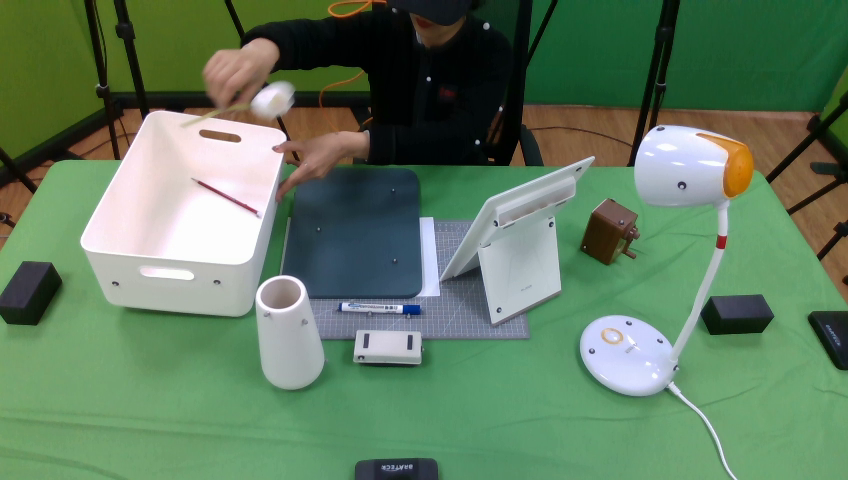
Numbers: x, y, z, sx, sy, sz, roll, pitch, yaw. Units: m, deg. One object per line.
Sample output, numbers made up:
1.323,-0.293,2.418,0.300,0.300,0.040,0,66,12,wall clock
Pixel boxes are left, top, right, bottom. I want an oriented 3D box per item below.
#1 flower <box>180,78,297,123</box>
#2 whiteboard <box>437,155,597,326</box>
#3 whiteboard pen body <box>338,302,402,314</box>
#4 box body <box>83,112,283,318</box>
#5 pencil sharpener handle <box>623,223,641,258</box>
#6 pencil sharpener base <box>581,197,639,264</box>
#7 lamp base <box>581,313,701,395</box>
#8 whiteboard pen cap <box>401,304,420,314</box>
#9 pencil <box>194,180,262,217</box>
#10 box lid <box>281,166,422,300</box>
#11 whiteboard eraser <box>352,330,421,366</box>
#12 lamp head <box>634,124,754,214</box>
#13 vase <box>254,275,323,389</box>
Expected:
-0.311,-0.209,0.961,0.360,0.038,0.044,2,56,46,flower
0.180,0.023,1.029,0.217,0.306,0.143,-22,71,-23,whiteboard
-0.083,0.121,1.074,0.141,0.017,0.017,3,46,-2,whiteboard pen body
-0.409,-0.049,1.099,0.254,0.161,0.361,7,46,-9,box body
0.399,0.002,1.146,0.030,0.068,0.036,35,45,26,pencil sharpener handle
0.362,-0.016,1.178,0.076,0.107,0.061,35,53,26,pencil sharpener base
0.361,0.144,0.973,0.178,0.181,0.160,34,53,23,lamp base
-0.024,0.123,1.076,0.033,0.018,0.018,1,46,1,whiteboard pen cap
-0.394,-0.084,1.237,0.193,0.012,0.012,26,50,13,pencil
-0.139,-0.029,1.219,0.263,0.015,0.369,1,46,-4,box lid
-0.061,0.180,1.005,0.113,0.042,0.055,3,48,-3,whiteboard eraser
0.351,-0.089,0.776,0.112,0.113,0.122,-30,30,-28,lamp head
-0.210,0.143,0.921,0.098,0.201,0.097,1,46,-1,vase
